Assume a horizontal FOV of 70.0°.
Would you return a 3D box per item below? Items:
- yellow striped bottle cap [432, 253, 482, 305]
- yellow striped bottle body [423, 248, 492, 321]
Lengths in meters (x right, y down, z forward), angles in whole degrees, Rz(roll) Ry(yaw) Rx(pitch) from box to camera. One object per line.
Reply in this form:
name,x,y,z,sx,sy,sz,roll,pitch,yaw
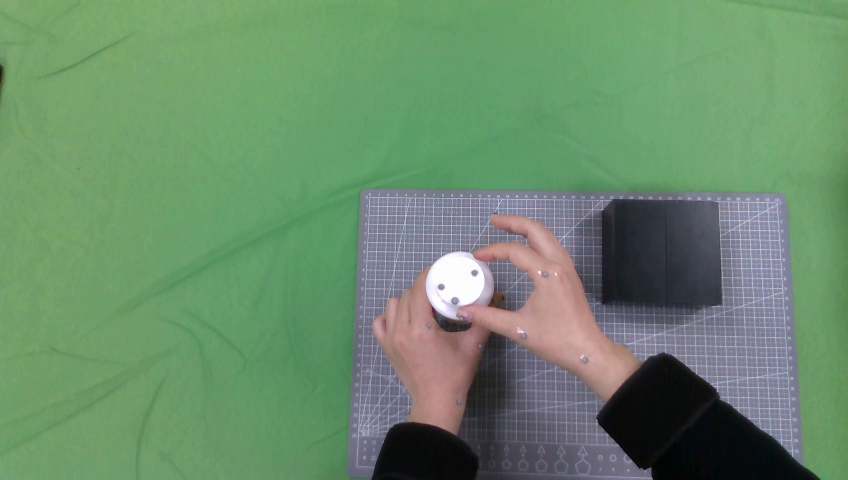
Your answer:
yellow striped bottle cap,0.029,0.034,0.525,0.044,0.019,0.044,0,80,3
yellow striped bottle body,0.032,0.044,0.579,0.063,0.120,0.062,0,80,2
